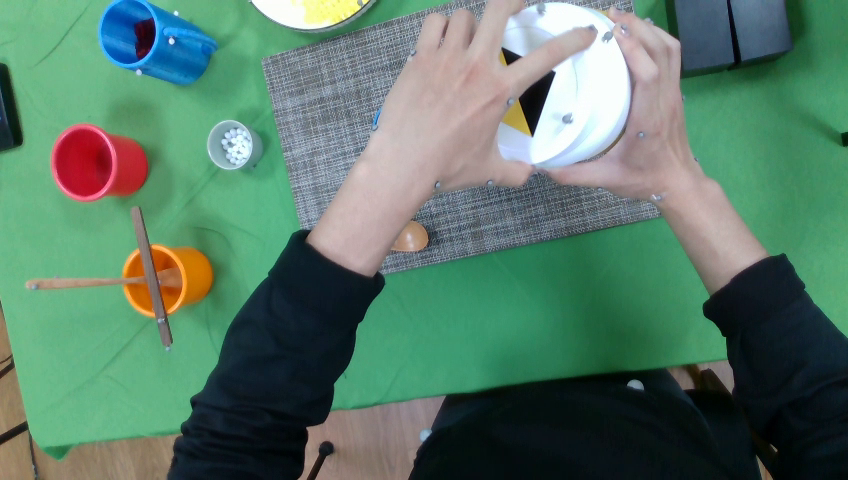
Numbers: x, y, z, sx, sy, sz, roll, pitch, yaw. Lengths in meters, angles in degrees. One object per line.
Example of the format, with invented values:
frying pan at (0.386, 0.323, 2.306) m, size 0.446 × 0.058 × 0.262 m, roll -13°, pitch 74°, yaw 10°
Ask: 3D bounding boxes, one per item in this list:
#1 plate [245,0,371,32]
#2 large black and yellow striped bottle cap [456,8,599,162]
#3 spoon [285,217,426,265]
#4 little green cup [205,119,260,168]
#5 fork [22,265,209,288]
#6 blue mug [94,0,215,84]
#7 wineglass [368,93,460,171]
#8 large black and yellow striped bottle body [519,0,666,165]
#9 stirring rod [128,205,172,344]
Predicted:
plate at (-0.135, -0.356, 0.733) m, size 0.209 × 0.038 × 0.209 m, roll 1°, pitch 95°, yaw 11°
large black and yellow striped bottle cap at (0.076, -0.117, 0.466) m, size 0.114 × 0.019 × 0.115 m, roll 11°, pitch 110°, yaw 34°
spoon at (-0.089, 0.007, 0.758) m, size 0.193 × 0.021 × 0.042 m, roll -13°, pitch 113°, yaw 12°
little green cup at (-0.242, -0.121, 0.774) m, size 0.061 × 0.038 × 0.061 m, roll 1°, pitch 95°, yaw 12°
fork at (-0.378, 0.049, 0.758) m, size 0.208 × 0.018 × 0.028 m, roll -2°, pitch 102°, yaw -32°
blue mug at (-0.318, -0.244, 0.745) m, size 0.116 × 0.106 × 0.082 m, roll 1°, pitch 94°, yaw 11°
wineglass at (-0.005, -0.112, 0.654) m, size 0.073 × 0.172 × 0.074 m, roll 1°, pitch 94°, yaw 12°
large black and yellow striped bottle body at (0.125, -0.137, 0.532) m, size 0.130 × 0.184 × 0.131 m, roll 12°, pitch 111°, yaw 33°
stirring rod at (-0.338, 0.043, 0.747) m, size 0.014 × 0.006 × 0.176 m, roll -13°, pitch 92°, yaw 13°
